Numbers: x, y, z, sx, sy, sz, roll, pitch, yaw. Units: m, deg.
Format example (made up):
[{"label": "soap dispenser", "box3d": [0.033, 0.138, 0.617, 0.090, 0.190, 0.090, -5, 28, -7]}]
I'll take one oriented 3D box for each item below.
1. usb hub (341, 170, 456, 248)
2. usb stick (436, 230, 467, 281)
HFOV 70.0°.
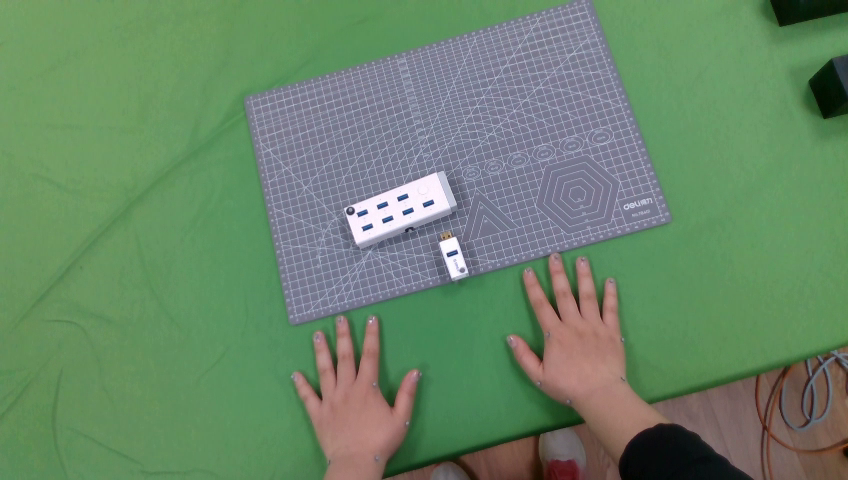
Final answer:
[{"label": "usb hub", "box3d": [-0.030, -0.037, 0.702, 0.125, 0.025, 0.049, -21, 75, 1]}, {"label": "usb stick", "box3d": [0.029, 0.015, 0.684, 0.021, 0.027, 0.059, -20, 73, 5]}]
